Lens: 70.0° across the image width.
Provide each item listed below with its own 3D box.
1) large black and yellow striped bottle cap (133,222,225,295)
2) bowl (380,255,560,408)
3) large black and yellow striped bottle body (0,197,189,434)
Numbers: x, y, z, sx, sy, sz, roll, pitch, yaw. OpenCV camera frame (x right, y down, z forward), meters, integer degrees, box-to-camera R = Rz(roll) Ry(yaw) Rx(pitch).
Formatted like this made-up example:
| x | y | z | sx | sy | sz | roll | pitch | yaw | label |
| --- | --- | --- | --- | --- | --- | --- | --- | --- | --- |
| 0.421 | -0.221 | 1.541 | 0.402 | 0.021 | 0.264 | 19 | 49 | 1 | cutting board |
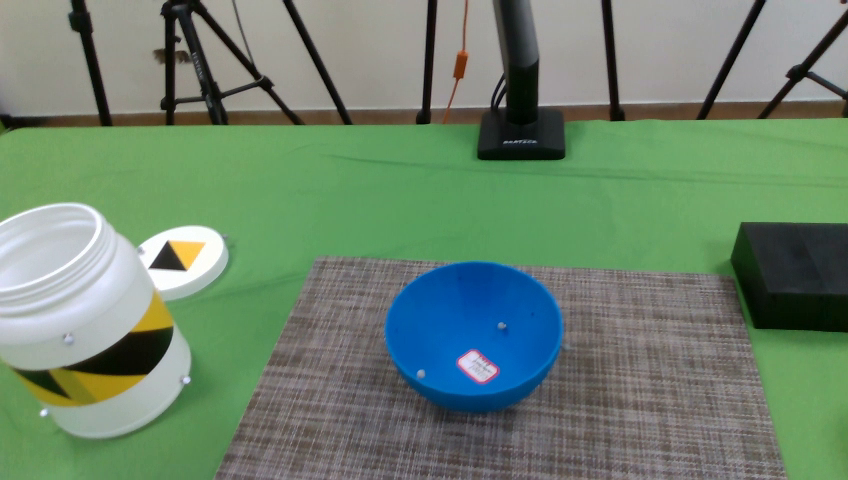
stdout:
| x | y | z | sx | sy | sz | roll | pitch | yaw | label |
| --- | --- | --- | --- | --- | --- | --- | --- | --- | --- |
| -0.294 | 0.019 | 0.712 | 0.115 | 0.019 | 0.114 | -3 | 41 | 3 | large black and yellow striped bottle cap |
| 0.041 | 0.092 | 0.531 | 0.151 | 0.077 | 0.150 | -3 | 41 | 3 | bowl |
| -0.300 | 0.067 | 0.530 | 0.131 | 0.186 | 0.129 | -4 | 41 | 4 | large black and yellow striped bottle body |
